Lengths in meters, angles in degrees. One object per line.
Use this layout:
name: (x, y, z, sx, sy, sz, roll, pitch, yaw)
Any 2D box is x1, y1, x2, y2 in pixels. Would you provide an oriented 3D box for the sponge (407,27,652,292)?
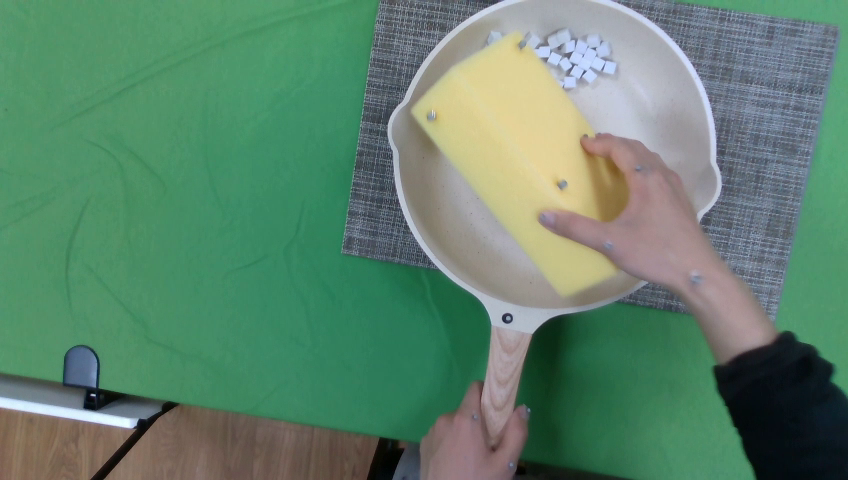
sponge: (0.098, -0.072, 0.528, 0.207, 0.118, 0.061, 48, 136, -6)

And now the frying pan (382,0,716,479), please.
frying pan: (0.092, 0.017, 0.578, 0.306, 0.103, 0.487, 13, 88, 4)
